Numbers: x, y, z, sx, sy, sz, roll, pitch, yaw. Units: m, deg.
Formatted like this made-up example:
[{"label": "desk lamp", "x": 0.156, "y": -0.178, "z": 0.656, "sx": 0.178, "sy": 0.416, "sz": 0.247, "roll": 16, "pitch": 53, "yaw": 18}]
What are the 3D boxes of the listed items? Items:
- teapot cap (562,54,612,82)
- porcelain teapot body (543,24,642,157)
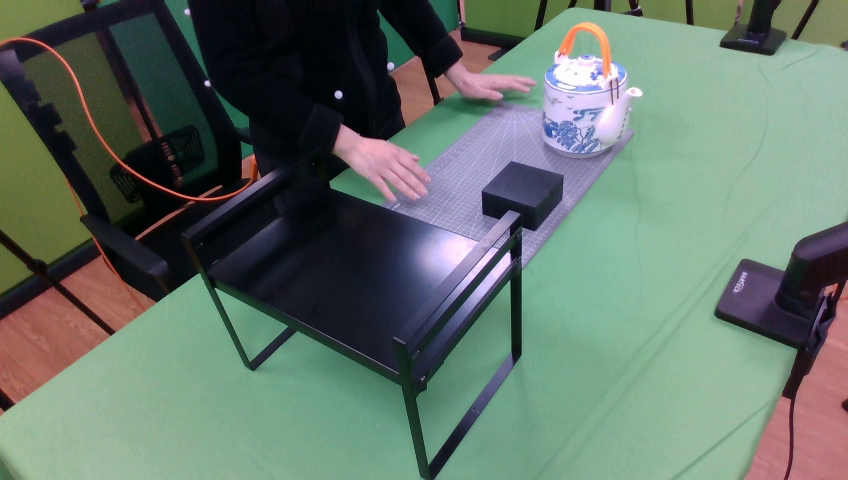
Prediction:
[{"label": "teapot cap", "x": 0.287, "y": -0.303, "z": 1.064, "sx": 0.085, "sy": 0.044, "sz": 0.085, "roll": -2, "pitch": 42, "yaw": 2}, {"label": "porcelain teapot body", "x": 0.305, "y": -0.258, "z": 1.070, "sx": 0.146, "sy": 0.226, "sz": 0.203, "roll": -26, "pitch": 44, "yaw": -20}]
